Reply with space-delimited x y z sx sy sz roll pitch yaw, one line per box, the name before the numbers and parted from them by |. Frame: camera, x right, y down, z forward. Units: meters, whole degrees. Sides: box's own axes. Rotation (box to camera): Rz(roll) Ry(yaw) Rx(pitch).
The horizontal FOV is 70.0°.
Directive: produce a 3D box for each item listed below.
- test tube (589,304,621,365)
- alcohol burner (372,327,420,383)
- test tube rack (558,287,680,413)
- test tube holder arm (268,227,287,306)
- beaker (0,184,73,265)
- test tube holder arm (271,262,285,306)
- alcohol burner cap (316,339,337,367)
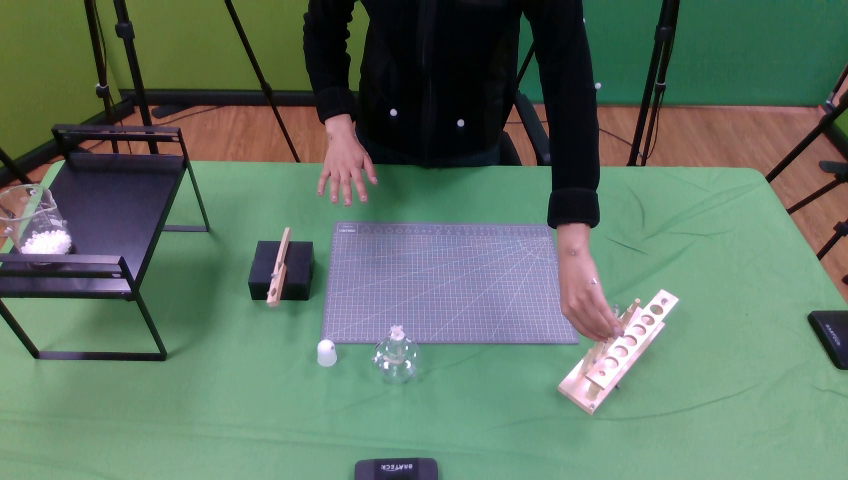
test tube | 0.285 0.152 0.961 0.017 0.151 0.017 2 46 -2
alcohol burner | -0.044 0.175 0.960 0.078 0.120 0.077 1 47 -1
test tube rack | 0.326 0.170 1.009 0.066 0.085 0.242 36 54 27
test tube holder arm | -0.258 0.043 1.071 0.013 0.015 0.177 -6 46 0
beaker | -0.556 -0.019 0.870 0.084 0.101 0.073 3 46 -2
test tube holder arm | -0.250 0.075 1.040 0.010 0.015 0.087 -4 46 1
alcohol burner cap | -0.161 0.182 0.995 0.034 0.048 0.033 2 47 -1
